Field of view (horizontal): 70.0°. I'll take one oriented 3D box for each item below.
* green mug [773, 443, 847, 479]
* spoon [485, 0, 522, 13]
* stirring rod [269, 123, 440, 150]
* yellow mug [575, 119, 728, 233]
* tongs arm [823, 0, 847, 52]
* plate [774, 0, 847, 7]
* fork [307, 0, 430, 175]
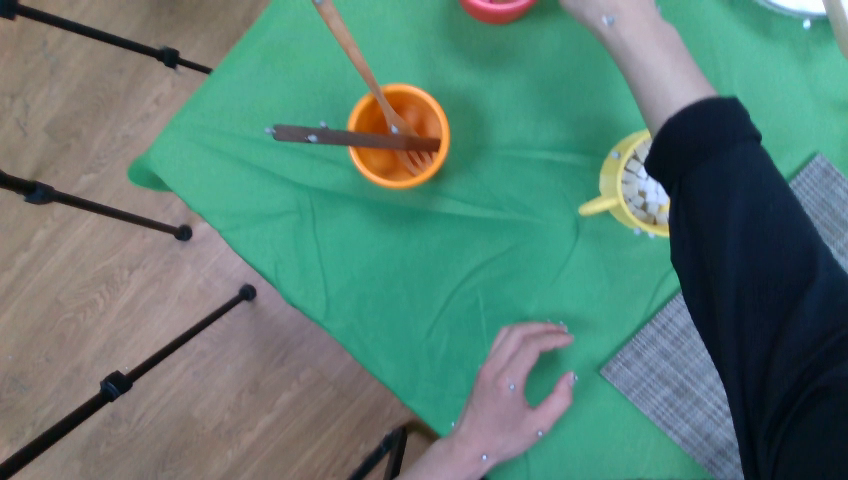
[{"bbox_3d":[0.409,0.243,0.567,0.125,0.105,0.092,-31,93,6],"label":"green mug"},{"bbox_3d":[0.084,-0.264,0.490,0.041,0.195,0.021,11,65,-3],"label":"spoon"},{"bbox_3d":[-0.054,-0.091,0.535,0.177,0.006,0.014,-4,99,-39],"label":"stirring rod"},{"bbox_3d":[0.205,-0.054,0.565,0.131,0.064,0.100,-22,96,6],"label":"yellow mug"},{"bbox_3d":[0.318,-0.334,0.510,0.051,0.026,0.385,-19,93,1],"label":"tongs arm"},{"bbox_3d":[0.354,-0.313,0.543,0.207,0.039,0.208,0,97,3],"label":"plate"},{"bbox_3d":[-0.046,-0.131,0.524,0.028,0.018,0.210,-32,137,3],"label":"fork"}]
